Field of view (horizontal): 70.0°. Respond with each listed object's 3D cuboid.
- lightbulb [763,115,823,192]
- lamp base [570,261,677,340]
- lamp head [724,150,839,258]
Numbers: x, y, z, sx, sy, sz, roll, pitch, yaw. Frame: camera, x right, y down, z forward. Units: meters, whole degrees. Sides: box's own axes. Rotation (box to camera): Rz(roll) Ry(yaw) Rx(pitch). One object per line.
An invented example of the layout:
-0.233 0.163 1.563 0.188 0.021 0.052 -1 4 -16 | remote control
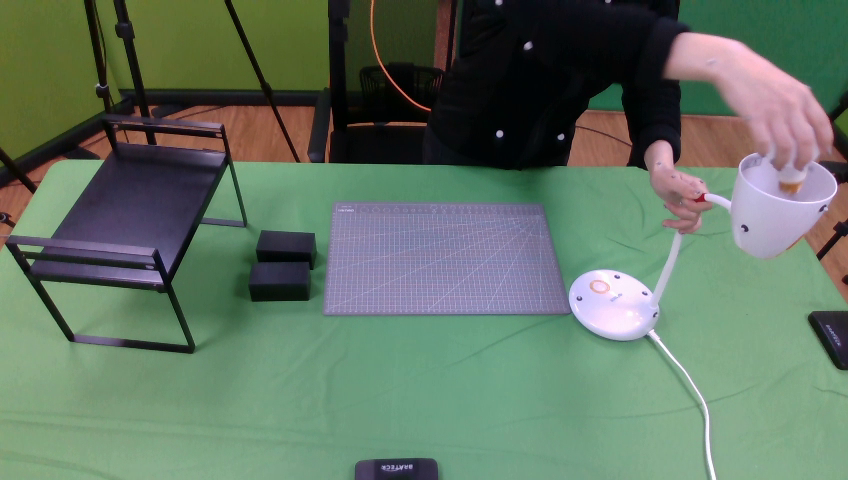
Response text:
0.439 -0.099 0.721 0.059 0.108 0.059 -17 41 15 | lightbulb
0.360 0.068 1.047 0.178 0.181 0.160 37 55 25 | lamp base
0.440 -0.040 0.773 0.112 0.123 0.111 1 45 0 | lamp head
